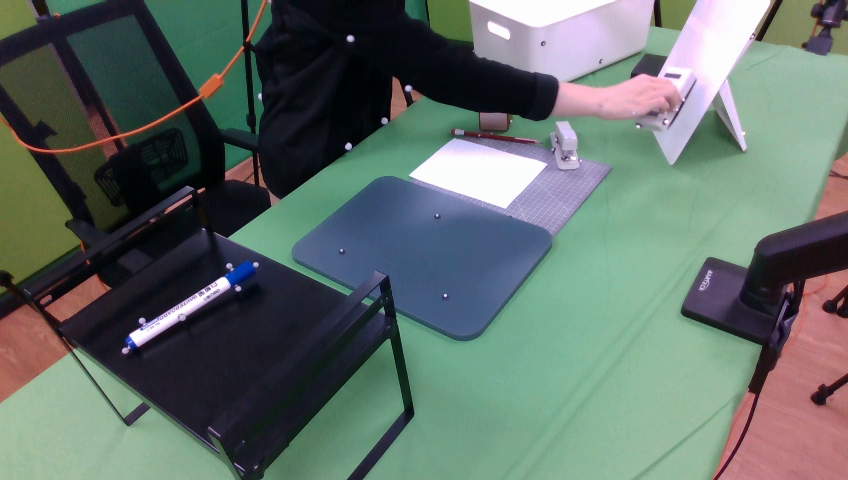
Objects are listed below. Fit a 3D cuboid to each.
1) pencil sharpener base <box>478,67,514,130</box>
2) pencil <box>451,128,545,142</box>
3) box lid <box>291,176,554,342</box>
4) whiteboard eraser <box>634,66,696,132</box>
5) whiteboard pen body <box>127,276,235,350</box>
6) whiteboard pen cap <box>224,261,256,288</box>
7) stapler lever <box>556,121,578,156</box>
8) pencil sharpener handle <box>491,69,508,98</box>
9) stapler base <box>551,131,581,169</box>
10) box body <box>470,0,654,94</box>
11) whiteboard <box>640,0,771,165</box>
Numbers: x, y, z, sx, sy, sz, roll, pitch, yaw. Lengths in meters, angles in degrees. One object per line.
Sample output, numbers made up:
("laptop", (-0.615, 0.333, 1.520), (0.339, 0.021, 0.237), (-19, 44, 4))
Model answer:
("pencil sharpener base", (0.148, -0.287, 1.225), (0.061, 0.107, 0.076), (5, 42, 15))
("pencil", (0.145, -0.208, 1.204), (0.193, 0.012, 0.012), (10, 43, 21))
("box lid", (-0.005, 0.011, 0.972), (0.368, 0.015, 0.264), (21, 49, 30))
("whiteboard eraser", (0.405, -0.234, 1.013), (0.055, 0.042, 0.112), (28, 87, 47))
("whiteboard pen body", (-0.250, 0.070, 0.649), (0.141, 0.017, 0.017), (-36, 48, -26))
("whiteboard pen cap", (-0.207, 0.039, 0.677), (0.033, 0.018, 0.018), (-35, 47, -18))
("stapler lever", (0.266, -0.198, 1.128), (0.027, 0.040, 0.117), (0, 38, 3))
("pencil sharpener handle", (0.155, -0.330, 1.254), (0.036, 0.068, 0.030), (18, 44, 3))
("stapler base", (0.268, -0.178, 1.142), (0.041, 0.024, 0.130), (0, 37, 3))
("box body", (0.319, -0.498, 1.405), (0.365, 0.161, 0.252), (-26, 43, -21))
("whiteboard", (0.543, -0.298, 1.076), (0.144, 0.305, 0.216), (12, 40, -7))
